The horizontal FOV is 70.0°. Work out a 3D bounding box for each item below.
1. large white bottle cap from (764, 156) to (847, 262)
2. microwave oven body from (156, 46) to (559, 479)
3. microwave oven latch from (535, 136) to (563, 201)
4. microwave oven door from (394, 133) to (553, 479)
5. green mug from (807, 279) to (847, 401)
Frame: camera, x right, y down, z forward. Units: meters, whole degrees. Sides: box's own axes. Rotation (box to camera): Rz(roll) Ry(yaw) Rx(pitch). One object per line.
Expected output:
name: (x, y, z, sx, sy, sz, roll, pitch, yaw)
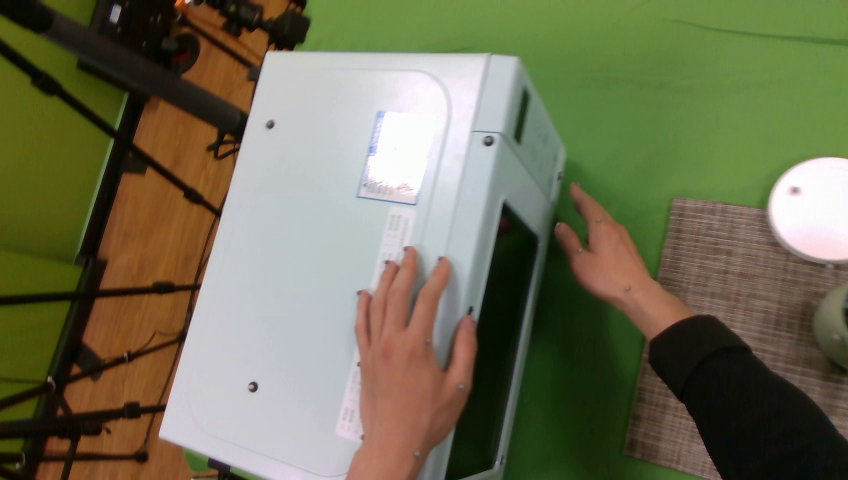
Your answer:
large white bottle cap: (0.427, -0.033, 0.643, 0.114, 0.018, 0.114, -6, 73, 21)
microwave oven body: (-0.059, 0.039, 0.701, 0.324, 0.262, 0.440, 9, 82, 25)
microwave oven latch: (0.151, -0.089, 0.751, 0.030, 0.030, 0.079, 14, 83, 25)
microwave oven door: (0.060, 0.099, 0.629, 0.039, 0.246, 0.354, 9, 81, 26)
green mug: (0.417, 0.093, 0.568, 0.092, 0.106, 0.125, 9, 81, 25)
